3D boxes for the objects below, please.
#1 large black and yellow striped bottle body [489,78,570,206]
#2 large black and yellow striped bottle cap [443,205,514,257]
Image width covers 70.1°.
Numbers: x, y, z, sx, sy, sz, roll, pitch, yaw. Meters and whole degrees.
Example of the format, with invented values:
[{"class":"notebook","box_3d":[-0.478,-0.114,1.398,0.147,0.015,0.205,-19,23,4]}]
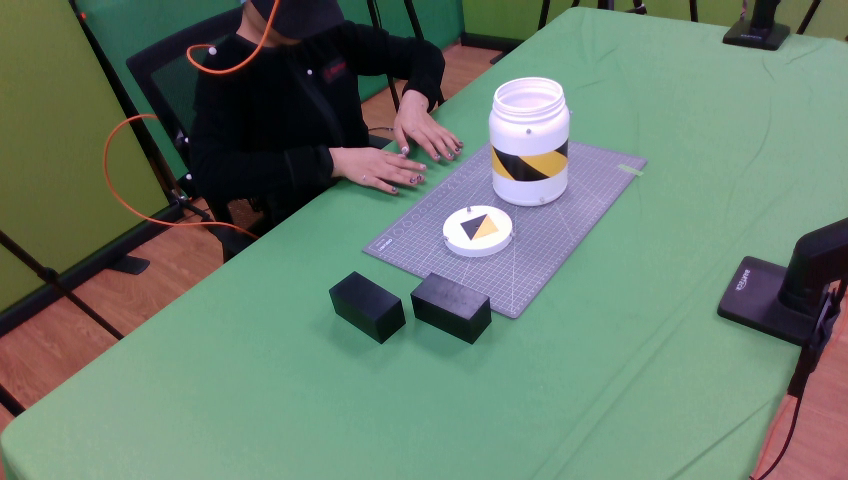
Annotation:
[{"class":"large black and yellow striped bottle body","box_3d":[0.177,-0.164,1.012,0.131,0.185,0.130,-5,40,5]},{"class":"large black and yellow striped bottle cap","box_3d":[0.088,-0.016,0.986,0.115,0.019,0.114,-4,41,4]}]
